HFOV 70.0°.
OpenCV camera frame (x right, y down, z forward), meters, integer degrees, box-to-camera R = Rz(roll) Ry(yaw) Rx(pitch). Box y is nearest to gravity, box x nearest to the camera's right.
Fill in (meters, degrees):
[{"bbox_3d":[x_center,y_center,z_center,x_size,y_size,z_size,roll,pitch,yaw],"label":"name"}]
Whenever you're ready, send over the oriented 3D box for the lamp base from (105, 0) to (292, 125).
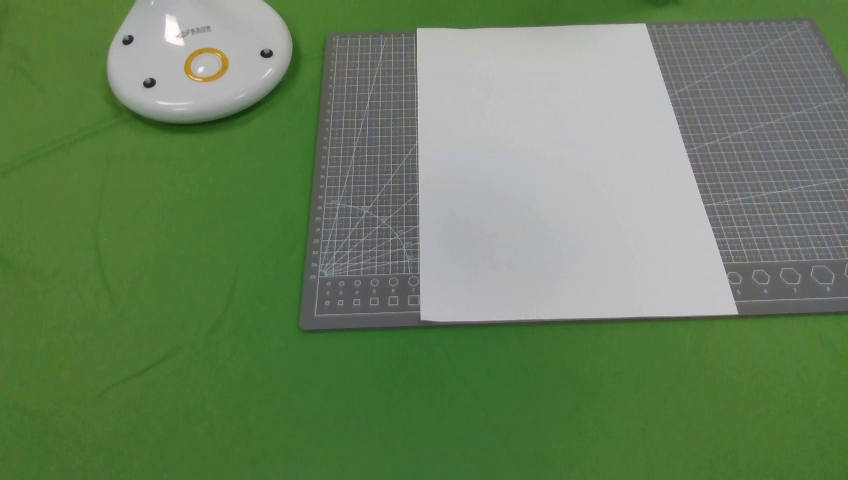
[{"bbox_3d":[-0.207,-0.213,0.478,0.161,0.182,0.177,-29,59,-16],"label":"lamp base"}]
